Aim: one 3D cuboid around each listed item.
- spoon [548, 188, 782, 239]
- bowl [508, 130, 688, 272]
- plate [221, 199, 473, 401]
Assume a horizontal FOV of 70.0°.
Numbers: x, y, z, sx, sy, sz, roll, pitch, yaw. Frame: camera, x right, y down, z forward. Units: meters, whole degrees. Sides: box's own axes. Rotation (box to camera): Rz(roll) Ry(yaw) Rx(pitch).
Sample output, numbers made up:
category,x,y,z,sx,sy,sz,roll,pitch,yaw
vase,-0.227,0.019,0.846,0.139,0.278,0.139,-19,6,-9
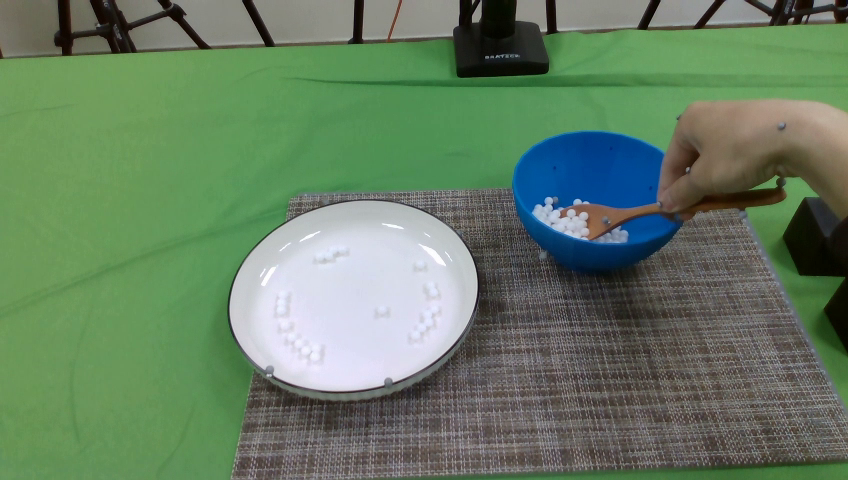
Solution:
category,x,y,z,sx,sy,sz,roll,pitch,yaw
spoon,0.179,-0.022,0.483,0.193,0.022,0.041,-9,57,52
bowl,0.149,-0.024,0.546,0.151,0.077,0.150,-1,46,2
plate,-0.063,0.048,0.516,0.208,0.039,0.205,-1,47,1
